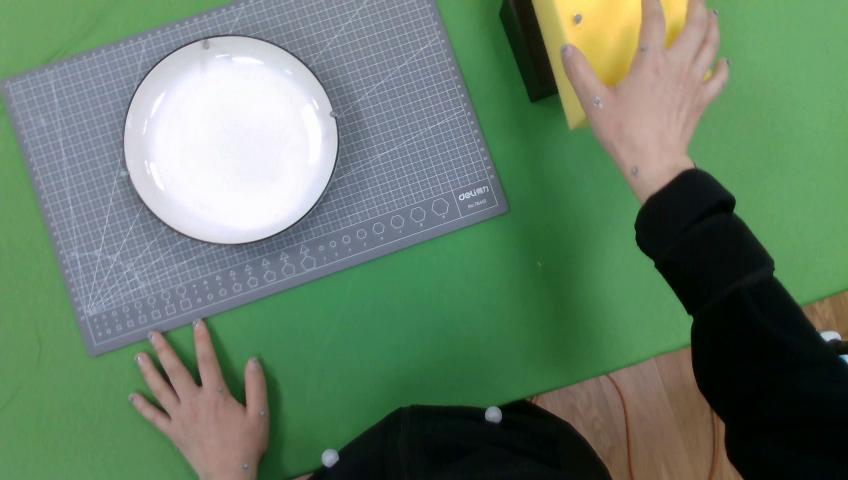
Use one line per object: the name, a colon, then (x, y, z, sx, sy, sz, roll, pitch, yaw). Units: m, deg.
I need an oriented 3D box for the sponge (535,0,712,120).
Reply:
sponge: (0.170, -0.229, 0.560, 0.118, 0.061, 0.206, -16, 89, -2)

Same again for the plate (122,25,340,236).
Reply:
plate: (-0.187, -0.106, 0.603, 0.209, 0.038, 0.209, 0, 88, -2)
